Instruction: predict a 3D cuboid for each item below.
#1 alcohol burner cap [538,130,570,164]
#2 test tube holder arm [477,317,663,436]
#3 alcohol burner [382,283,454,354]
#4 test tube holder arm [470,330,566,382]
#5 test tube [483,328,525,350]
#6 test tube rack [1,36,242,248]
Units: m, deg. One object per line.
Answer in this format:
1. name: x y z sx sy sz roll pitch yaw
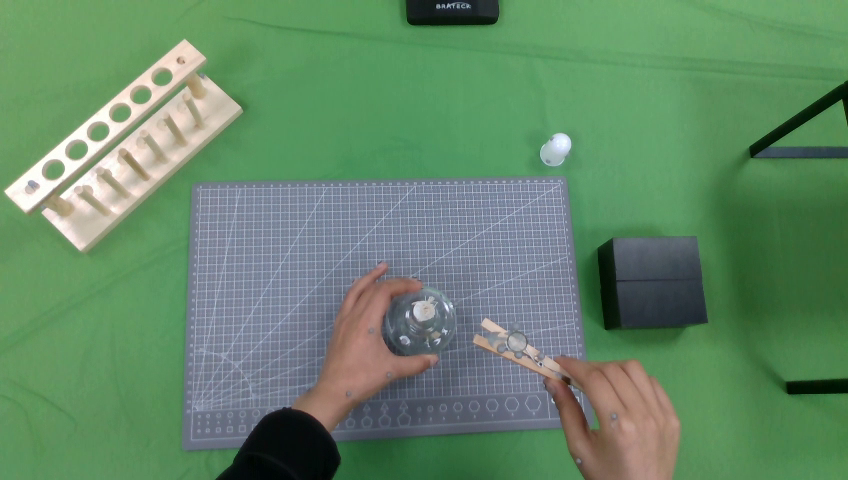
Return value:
1. alcohol burner cap: 0.161 -0.116 0.742 0.034 0.048 0.033 1 76 -5
2. test tube holder arm: 0.123 0.115 0.515 0.178 0.015 0.013 30 86 3
3. alcohol burner: -0.005 0.079 0.640 0.078 0.119 0.077 2 73 -5
4. test tube holder arm: 0.081 0.099 0.517 0.088 0.015 0.010 24 85 3
5. test tube: 0.063 0.082 0.503 0.017 0.150 0.017 0 81 -1
6. test tube rack: -0.322 -0.107 0.671 0.066 0.085 0.242 42 77 6
